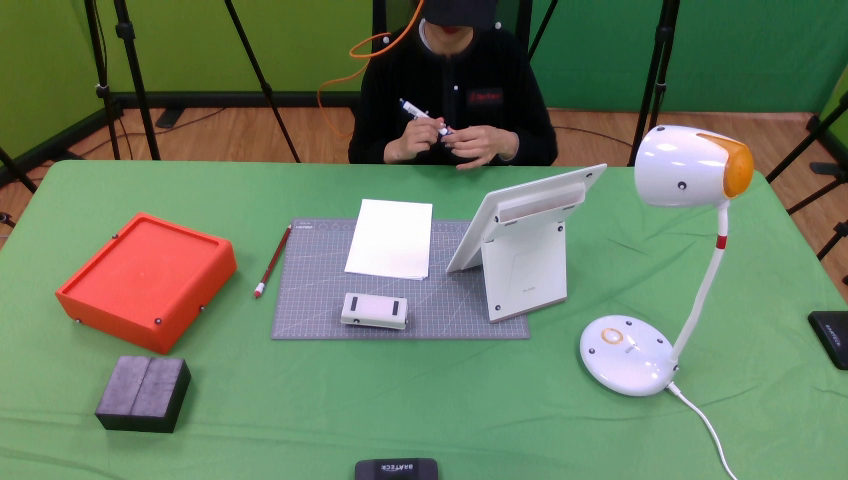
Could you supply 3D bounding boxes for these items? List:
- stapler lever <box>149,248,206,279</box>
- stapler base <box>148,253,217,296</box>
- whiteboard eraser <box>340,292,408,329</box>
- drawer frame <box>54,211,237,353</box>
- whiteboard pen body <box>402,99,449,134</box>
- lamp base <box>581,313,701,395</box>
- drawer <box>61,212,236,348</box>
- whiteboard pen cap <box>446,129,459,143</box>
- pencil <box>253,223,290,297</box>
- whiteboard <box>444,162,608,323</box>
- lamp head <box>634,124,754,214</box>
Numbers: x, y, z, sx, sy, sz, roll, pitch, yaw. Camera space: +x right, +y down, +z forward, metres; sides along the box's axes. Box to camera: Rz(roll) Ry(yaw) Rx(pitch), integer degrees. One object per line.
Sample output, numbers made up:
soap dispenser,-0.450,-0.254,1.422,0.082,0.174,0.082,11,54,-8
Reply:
stapler lever,-0.443,0.037,1.084,0.118,0.040,0.027,19,49,17
stapler base,-0.443,0.059,1.109,0.130,0.024,0.041,24,51,11
whiteboard eraser,-0.087,0.125,1.052,0.113,0.042,0.055,5,45,1
drawer frame,-0.473,0.067,1.055,0.201,0.083,0.212,17,48,11
whiteboard pen body,0.012,-0.263,1.320,0.141,0.017,0.017,34,48,-9
lamp base,0.361,0.144,0.973,0.178,0.181,0.160,34,53,23
drawer,-0.473,0.064,1.060,0.194,0.073,0.211,18,48,11
whiteboard pen cap,0.060,-0.230,1.330,0.033,0.018,0.018,45,50,-10
pencil,-0.286,0.033,1.150,0.012,0.012,0.193,9,46,4
whiteboard,0.186,0.026,1.028,0.217,0.306,0.143,-14,68,-18
lamp head,0.351,-0.089,0.775,0.112,0.113,0.122,-30,30,-28
